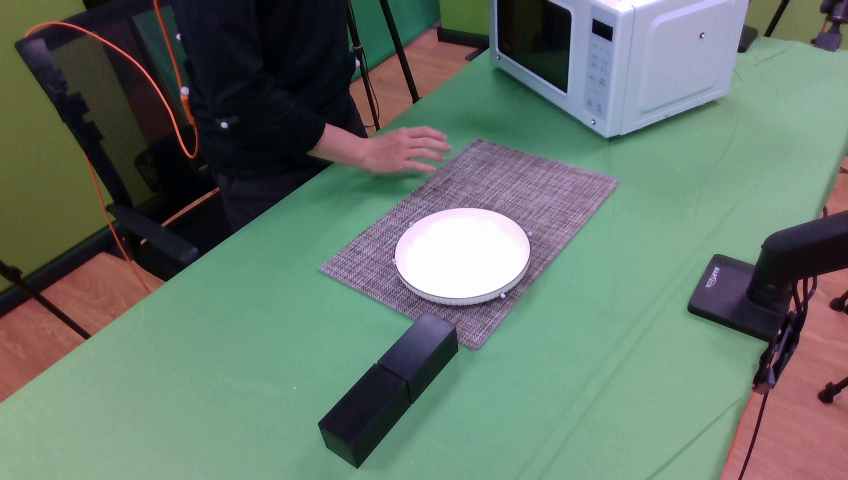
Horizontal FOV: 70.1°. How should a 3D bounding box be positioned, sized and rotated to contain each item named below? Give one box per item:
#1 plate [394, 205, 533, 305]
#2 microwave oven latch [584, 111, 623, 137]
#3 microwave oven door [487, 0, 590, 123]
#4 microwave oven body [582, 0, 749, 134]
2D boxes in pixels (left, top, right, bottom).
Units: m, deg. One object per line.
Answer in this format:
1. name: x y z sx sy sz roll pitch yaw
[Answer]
1. plate: 0.059 0.025 0.915 0.207 0.039 0.206 -4 41 4
2. microwave oven latch: 0.337 -0.222 1.142 0.030 0.029 0.078 -21 42 -14
3. microwave oven door: 0.232 -0.420 1.231 0.039 0.245 0.352 -22 43 -16
4. microwave oven body: 0.382 -0.444 1.246 0.327 0.261 0.437 -22 42 -16
